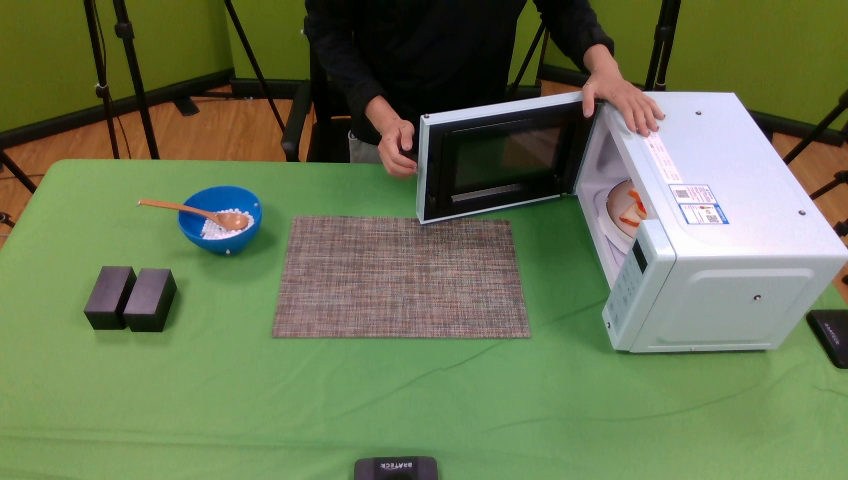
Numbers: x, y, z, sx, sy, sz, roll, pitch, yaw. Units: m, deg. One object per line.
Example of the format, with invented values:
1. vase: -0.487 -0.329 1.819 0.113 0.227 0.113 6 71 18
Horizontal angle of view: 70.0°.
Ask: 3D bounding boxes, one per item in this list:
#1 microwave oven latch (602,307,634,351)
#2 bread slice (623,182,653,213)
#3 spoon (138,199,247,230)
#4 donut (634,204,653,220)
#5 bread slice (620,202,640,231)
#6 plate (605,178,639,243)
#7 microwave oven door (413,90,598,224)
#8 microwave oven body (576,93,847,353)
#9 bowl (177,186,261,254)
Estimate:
1. microwave oven latch: 0.332 0.153 1.044 0.030 0.029 0.078 0 45 -4
2. bread slice: 0.458 -0.079 1.138 0.131 0.019 0.105 34 51 29
3. spoon: -0.431 -0.053 1.136 0.194 0.022 0.041 15 47 -20
4. donut: 0.453 -0.062 1.159 0.099 0.048 0.098 -1 46 1
5. bread slice: 0.454 -0.038 1.178 0.134 0.018 0.107 19 55 30
6. plate: 0.455 -0.042 1.182 0.208 0.039 0.206 2 46 -2
7. microwave oven door: 0.157 -0.162 1.196 0.356 0.245 0.039 -12 48 -15
8. microwave oven body: 0.475 -0.041 1.109 0.326 0.261 0.438 -1 45 -4
9. bowl: -0.383 -0.026 1.158 0.151 0.077 0.150 2 46 -2
